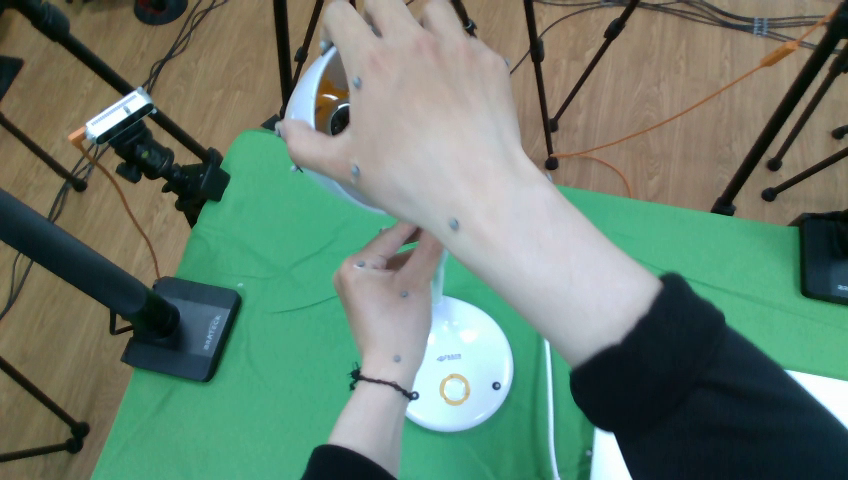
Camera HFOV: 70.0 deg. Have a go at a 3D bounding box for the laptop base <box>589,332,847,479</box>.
[{"bbox_3d":[0.371,0.249,0.697,0.354,0.023,0.234,10,69,6],"label":"laptop base"}]

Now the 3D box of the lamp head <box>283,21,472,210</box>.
[{"bbox_3d":[-0.041,-0.077,0.411,0.113,0.122,0.112,-2,95,-27],"label":"lamp head"}]

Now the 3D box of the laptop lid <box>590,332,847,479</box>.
[{"bbox_3d":[0.370,0.246,0.685,0.356,0.013,0.240,12,68,6],"label":"laptop lid"}]

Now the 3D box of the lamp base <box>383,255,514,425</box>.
[{"bbox_3d":[0.024,0.103,0.679,0.161,0.181,0.177,-18,64,-6],"label":"lamp base"}]
